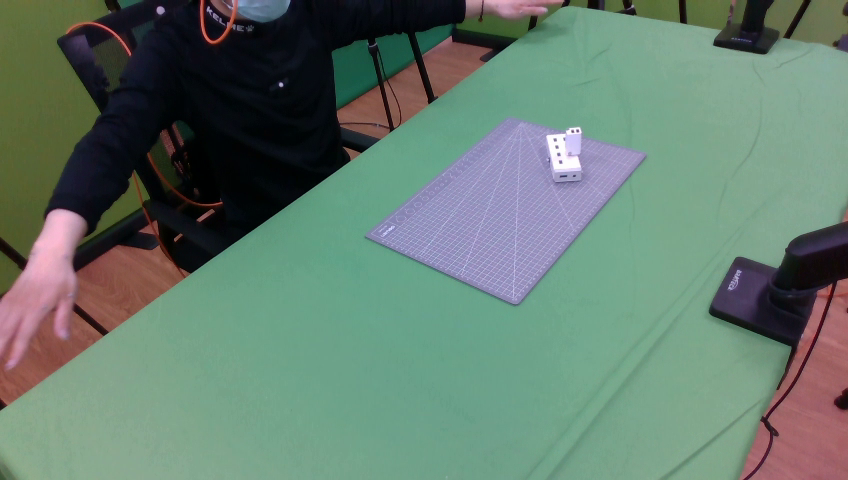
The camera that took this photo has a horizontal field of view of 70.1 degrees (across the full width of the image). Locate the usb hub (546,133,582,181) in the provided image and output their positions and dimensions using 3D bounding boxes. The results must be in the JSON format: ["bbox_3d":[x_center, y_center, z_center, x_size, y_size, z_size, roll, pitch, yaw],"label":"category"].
[{"bbox_3d":[0.255,-0.153,1.103,0.049,0.025,0.124,-3,41,5],"label":"usb hub"}]

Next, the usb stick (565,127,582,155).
[{"bbox_3d":[0.266,-0.170,1.077,0.027,0.059,0.021,-3,41,2],"label":"usb stick"}]
